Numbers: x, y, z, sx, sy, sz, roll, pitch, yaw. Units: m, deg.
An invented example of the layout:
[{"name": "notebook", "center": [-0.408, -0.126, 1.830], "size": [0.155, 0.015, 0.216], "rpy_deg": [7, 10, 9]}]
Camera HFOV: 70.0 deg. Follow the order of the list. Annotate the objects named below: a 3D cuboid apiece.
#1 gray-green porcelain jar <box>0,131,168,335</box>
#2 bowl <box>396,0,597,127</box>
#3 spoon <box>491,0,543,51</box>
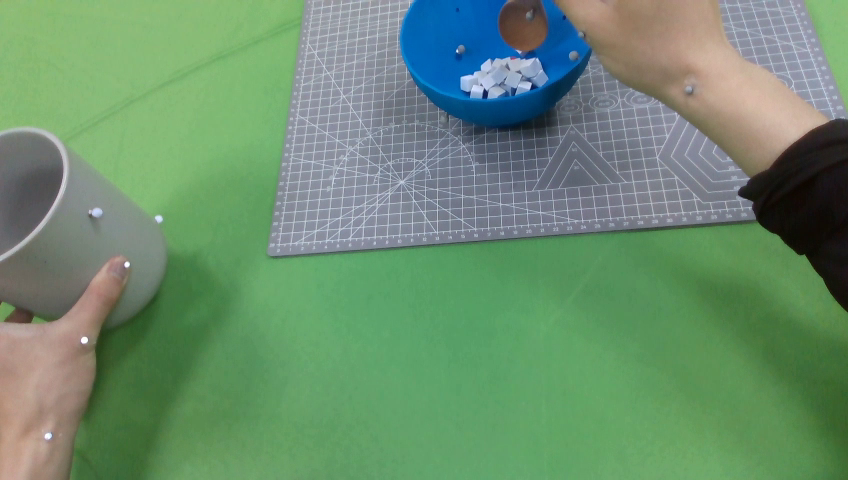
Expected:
[{"name": "gray-green porcelain jar", "center": [-0.254, 0.003, 0.425], "size": [0.106, 0.127, 0.105], "rpy_deg": [-5, 62, 10]}, {"name": "bowl", "center": [0.059, -0.144, 0.487], "size": [0.151, 0.077, 0.150], "rpy_deg": [-5, 61, 9]}, {"name": "spoon", "center": [0.072, -0.170, 0.398], "size": [0.041, 0.194, 0.021], "rpy_deg": [29, 88, 2]}]
